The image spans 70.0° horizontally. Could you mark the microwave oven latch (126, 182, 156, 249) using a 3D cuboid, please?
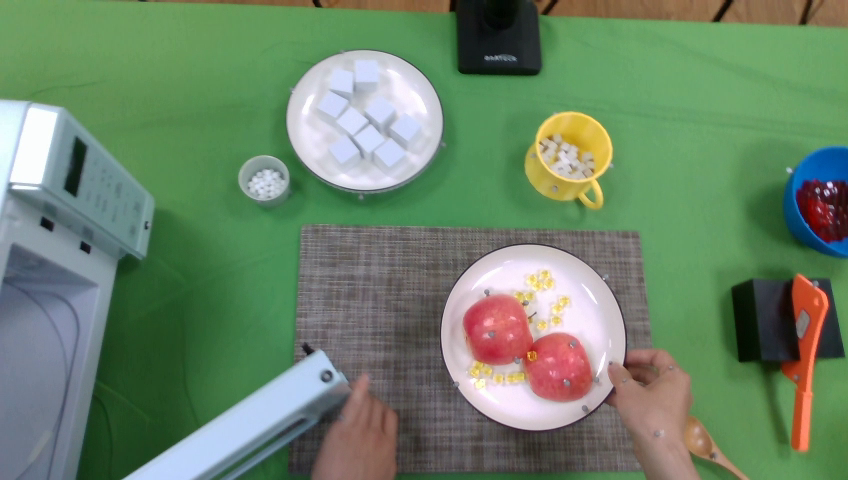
[{"bbox_3d":[-0.348,-0.031,0.737,0.030,0.029,0.078,5,75,-3],"label":"microwave oven latch"}]

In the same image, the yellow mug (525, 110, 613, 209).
[{"bbox_3d":[0.199,-0.100,0.803,0.100,0.064,0.130,-27,79,-11],"label":"yellow mug"}]

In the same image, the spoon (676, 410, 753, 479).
[{"bbox_3d":[0.377,0.281,0.731,0.193,0.022,0.041,43,58,8],"label":"spoon"}]

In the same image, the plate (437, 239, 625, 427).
[{"bbox_3d":[0.117,0.103,0.683,0.209,0.038,0.208,0,78,-1],"label":"plate"}]

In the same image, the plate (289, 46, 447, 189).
[{"bbox_3d":[-0.074,-0.162,0.815,0.208,0.039,0.206,1,74,-4],"label":"plate"}]

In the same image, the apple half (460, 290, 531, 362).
[{"bbox_3d":[0.079,0.094,0.668,0.075,0.053,0.080,-12,79,-2],"label":"apple half"}]

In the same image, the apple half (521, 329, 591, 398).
[{"bbox_3d":[0.148,0.137,0.670,0.081,0.033,0.081,0,74,1],"label":"apple half"}]

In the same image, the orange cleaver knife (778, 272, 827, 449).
[{"bbox_3d":[0.458,0.147,0.744,0.012,0.077,0.211,2,98,1],"label":"orange cleaver knife"}]

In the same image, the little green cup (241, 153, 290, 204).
[{"bbox_3d":[-0.201,-0.077,0.779,0.061,0.039,0.061,1,75,-5],"label":"little green cup"}]

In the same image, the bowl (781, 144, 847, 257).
[{"bbox_3d":[0.538,-0.042,0.805,0.151,0.077,0.150,1,74,-4],"label":"bowl"}]

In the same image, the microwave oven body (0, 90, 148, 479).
[{"bbox_3d":[-0.501,0.100,0.588,0.326,0.261,0.439,4,75,-3],"label":"microwave oven body"}]

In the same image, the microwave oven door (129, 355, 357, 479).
[{"bbox_3d":[-0.227,0.224,0.568,0.356,0.245,0.039,-33,78,-12],"label":"microwave oven door"}]
